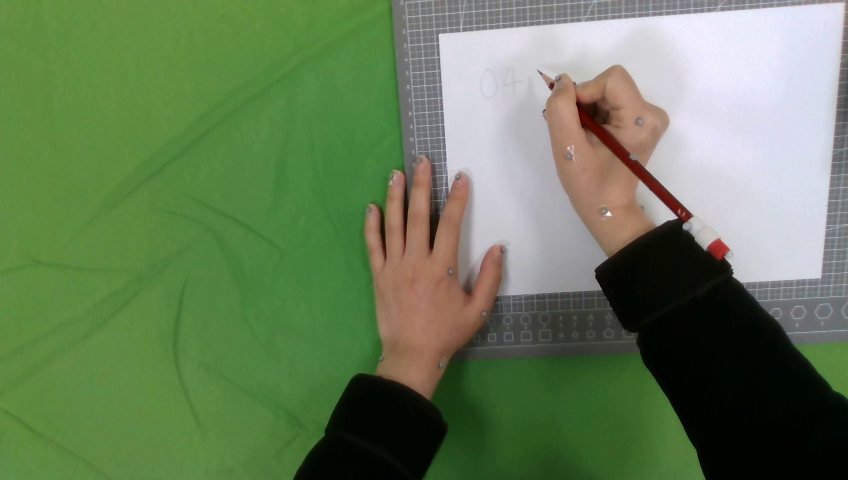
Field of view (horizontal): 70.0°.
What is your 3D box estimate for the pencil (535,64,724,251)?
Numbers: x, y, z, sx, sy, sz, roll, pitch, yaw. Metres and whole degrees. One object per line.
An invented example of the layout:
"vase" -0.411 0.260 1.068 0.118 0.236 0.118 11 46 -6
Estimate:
"pencil" 0.128 -0.064 0.404 0.012 0.012 0.192 -40 57 11
